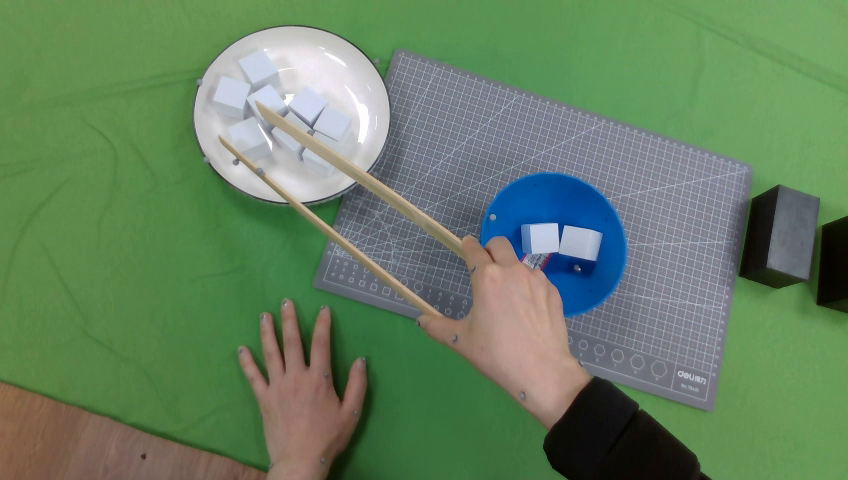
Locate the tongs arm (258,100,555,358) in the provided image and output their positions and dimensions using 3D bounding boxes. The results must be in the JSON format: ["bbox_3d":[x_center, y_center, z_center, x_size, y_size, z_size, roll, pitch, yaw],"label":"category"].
[{"bbox_3d":[-0.032,-0.028,0.549,0.384,0.028,0.028,38,66,24],"label":"tongs arm"}]

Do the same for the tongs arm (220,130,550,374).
[{"bbox_3d":[-0.053,-0.007,0.540,0.050,0.027,0.381,-42,64,-18],"label":"tongs arm"}]

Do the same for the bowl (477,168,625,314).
[{"bbox_3d":[0.123,0.008,0.634,0.152,0.077,0.150,2,76,-7],"label":"bowl"}]

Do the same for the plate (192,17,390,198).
[{"bbox_3d":[-0.141,-0.141,0.660,0.208,0.039,0.206,1,77,-5],"label":"plate"}]
